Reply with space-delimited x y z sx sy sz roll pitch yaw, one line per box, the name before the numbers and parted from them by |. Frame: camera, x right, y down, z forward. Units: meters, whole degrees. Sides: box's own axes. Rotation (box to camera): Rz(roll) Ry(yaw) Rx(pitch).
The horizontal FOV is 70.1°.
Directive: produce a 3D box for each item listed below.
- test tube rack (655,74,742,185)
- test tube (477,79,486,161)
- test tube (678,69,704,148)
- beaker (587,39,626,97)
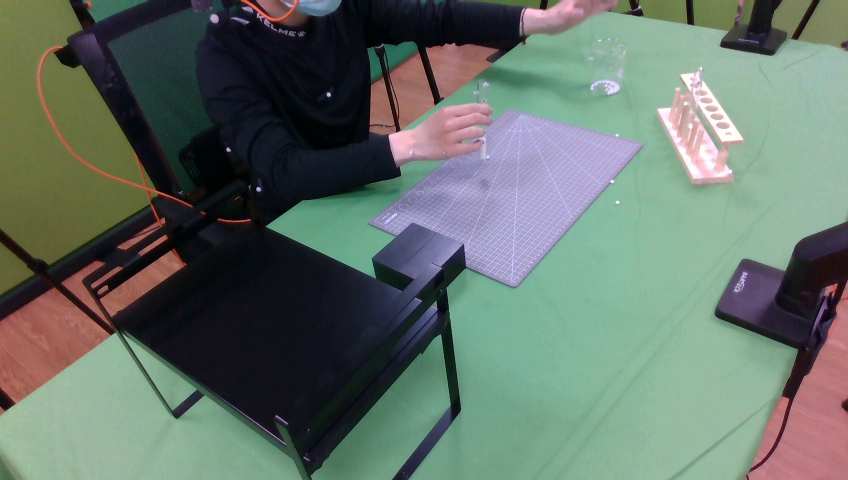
test tube rack | 0.488 -0.205 1.093 0.067 0.085 0.241 -3 41 5
test tube | 0.100 -0.206 1.052 0.017 0.151 0.017 -3 36 2
test tube | 0.465 -0.228 1.054 0.017 0.151 0.017 -4 41 4
beaker | 0.386 -0.361 1.280 0.074 0.101 0.083 -22 43 -15
